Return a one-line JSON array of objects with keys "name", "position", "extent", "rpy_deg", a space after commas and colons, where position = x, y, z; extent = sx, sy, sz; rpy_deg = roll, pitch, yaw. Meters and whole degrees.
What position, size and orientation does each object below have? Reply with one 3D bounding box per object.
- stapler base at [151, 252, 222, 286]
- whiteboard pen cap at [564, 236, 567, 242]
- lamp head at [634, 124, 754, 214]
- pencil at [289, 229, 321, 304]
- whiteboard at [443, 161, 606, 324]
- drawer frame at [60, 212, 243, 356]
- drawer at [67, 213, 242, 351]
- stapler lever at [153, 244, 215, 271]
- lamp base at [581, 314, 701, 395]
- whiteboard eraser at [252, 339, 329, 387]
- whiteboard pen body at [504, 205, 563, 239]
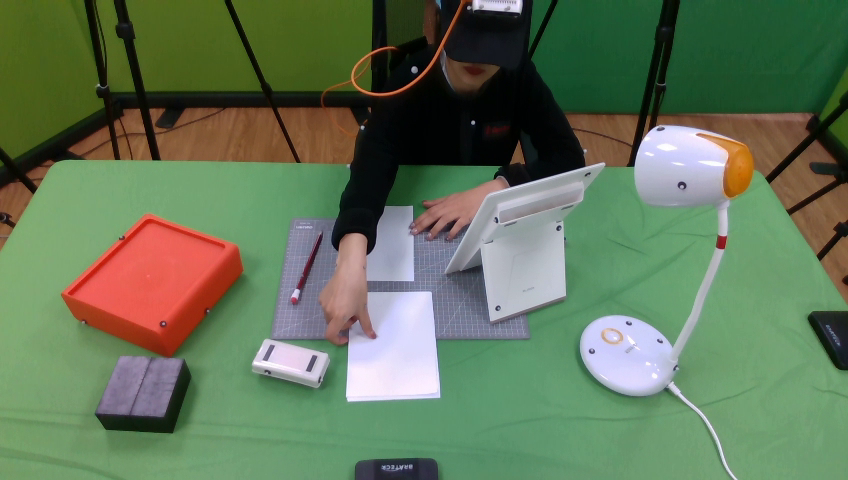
[{"name": "stapler base", "position": [-0.432, 0.047, 1.103], "extent": [0.130, 0.024, 0.041], "rpy_deg": [16, 33, 12]}, {"name": "whiteboard pen cap", "position": [0.271, -0.007, 1.225], "extent": [0.033, 0.018, 0.018], "rpy_deg": [33, 53, 22]}, {"name": "lamp head", "position": [0.351, -0.089, 0.776], "extent": [0.112, 0.113, 0.122], "rpy_deg": [-30, 30, -28]}, {"name": "pencil", "position": [-0.220, 0.045, 1.141], "extent": [0.012, 0.012, 0.193], "rpy_deg": [8, 44, 4]}, {"name": "whiteboard", "position": [0.185, 0.026, 1.028], "extent": [0.217, 0.306, 0.143], "rpy_deg": [-15, 68, -18]}, {"name": "drawer frame", "position": [-0.462, 0.070, 1.053], "extent": [0.201, 0.083, 0.213], "rpy_deg": [18, 48, 12]}, {"name": "drawer", "position": [-0.461, 0.068, 1.057], "extent": [0.194, 0.073, 0.211], "rpy_deg": [19, 48, 13]}, {"name": "stapler lever", "position": [-0.431, 0.025, 1.088], "extent": [0.118, 0.040, 0.027], "rpy_deg": [15, 33, 12]}, {"name": "lamp base", "position": [0.361, 0.144, 0.973], "extent": [0.178, 0.181, 0.160], "rpy_deg": [34, 53, 23]}, {"name": "whiteboard eraser", "position": [-0.215, 0.199, 0.976], "extent": [0.112, 0.042, 0.055], "rpy_deg": [12, 45, 7]}, {"name": "whiteboard pen body", "position": [0.226, -0.036, 1.249], "extent": [0.140, 0.017, 0.017], "rpy_deg": [31, 52, 23]}]
